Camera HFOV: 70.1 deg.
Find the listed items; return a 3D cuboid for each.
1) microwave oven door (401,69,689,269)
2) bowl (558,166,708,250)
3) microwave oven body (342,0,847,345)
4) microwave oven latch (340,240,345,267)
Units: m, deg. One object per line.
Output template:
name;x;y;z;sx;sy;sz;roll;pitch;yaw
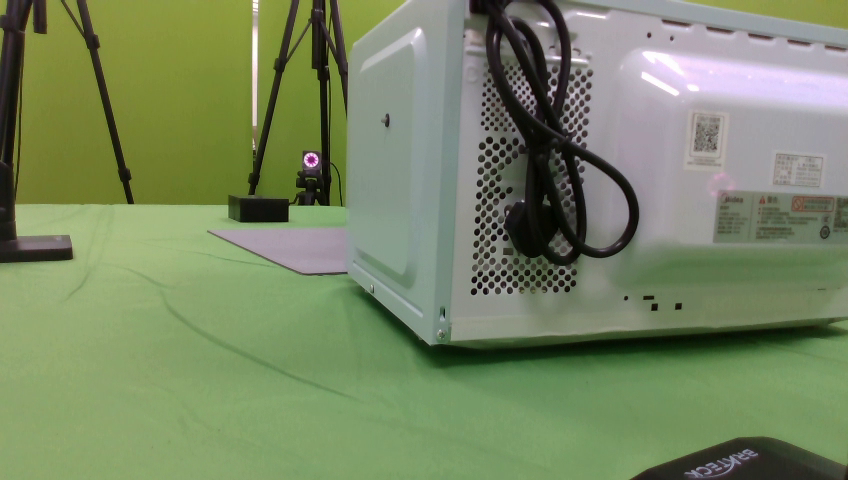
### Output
microwave oven door;0.152;-0.092;0.786;0.356;0.243;0.039;3;8;2
bowl;0.215;-0.035;0.640;0.151;0.077;0.151;2;11;0
microwave oven body;0.169;-0.060;0.573;0.444;0.260;0.324;1;7;-20
microwave oven latch;-0.052;0.016;0.662;0.079;0.029;0.030;1;7;-18
